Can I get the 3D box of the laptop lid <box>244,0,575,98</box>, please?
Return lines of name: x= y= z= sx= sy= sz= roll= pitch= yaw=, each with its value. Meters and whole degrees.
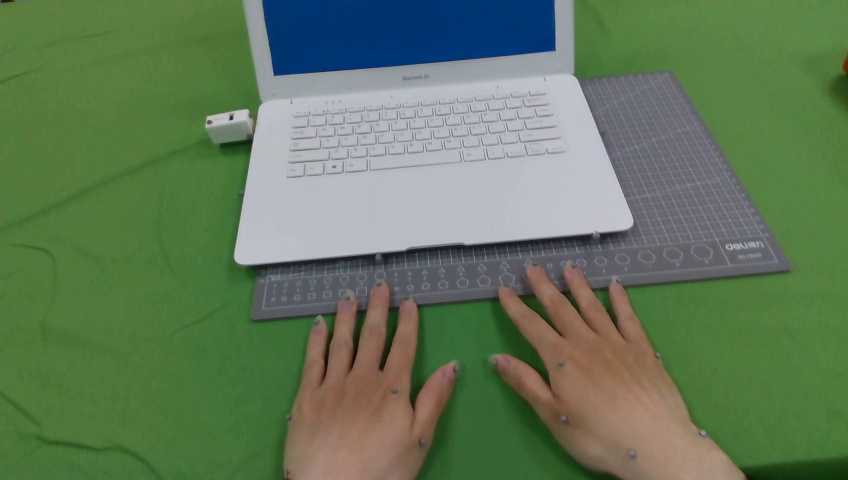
laptop lid: x=-0.017 y=-0.279 z=0.640 sx=0.357 sy=0.243 sz=0.013 roll=-7 pitch=19 yaw=0

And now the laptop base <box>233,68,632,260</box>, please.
laptop base: x=0.001 y=-0.082 z=0.603 sx=0.354 sy=0.023 sz=0.233 roll=-5 pitch=52 yaw=-1

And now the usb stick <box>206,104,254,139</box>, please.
usb stick: x=-0.197 y=-0.126 z=0.640 sx=0.059 sy=0.027 sz=0.021 roll=-8 pitch=48 yaw=-2

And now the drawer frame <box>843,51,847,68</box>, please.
drawer frame: x=0.572 y=-0.156 z=0.584 sx=0.202 sy=0.083 sz=0.211 roll=-10 pitch=48 yaw=-3
